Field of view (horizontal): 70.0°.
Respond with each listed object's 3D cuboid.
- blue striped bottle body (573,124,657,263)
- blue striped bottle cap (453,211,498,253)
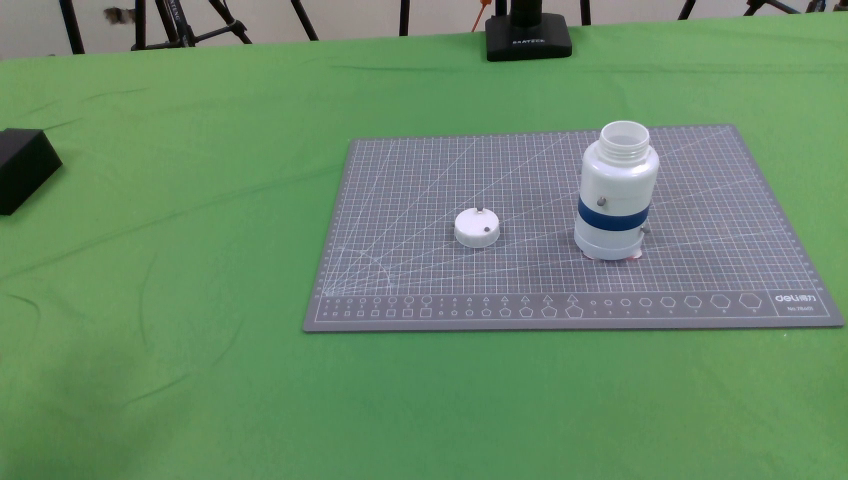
[{"bbox_3d":[0.169,-0.042,0.539,0.063,0.122,0.062,-3,43,3],"label":"blue striped bottle body"},{"bbox_3d":[0.051,-0.008,0.595,0.044,0.021,0.044,-2,42,2],"label":"blue striped bottle cap"}]
